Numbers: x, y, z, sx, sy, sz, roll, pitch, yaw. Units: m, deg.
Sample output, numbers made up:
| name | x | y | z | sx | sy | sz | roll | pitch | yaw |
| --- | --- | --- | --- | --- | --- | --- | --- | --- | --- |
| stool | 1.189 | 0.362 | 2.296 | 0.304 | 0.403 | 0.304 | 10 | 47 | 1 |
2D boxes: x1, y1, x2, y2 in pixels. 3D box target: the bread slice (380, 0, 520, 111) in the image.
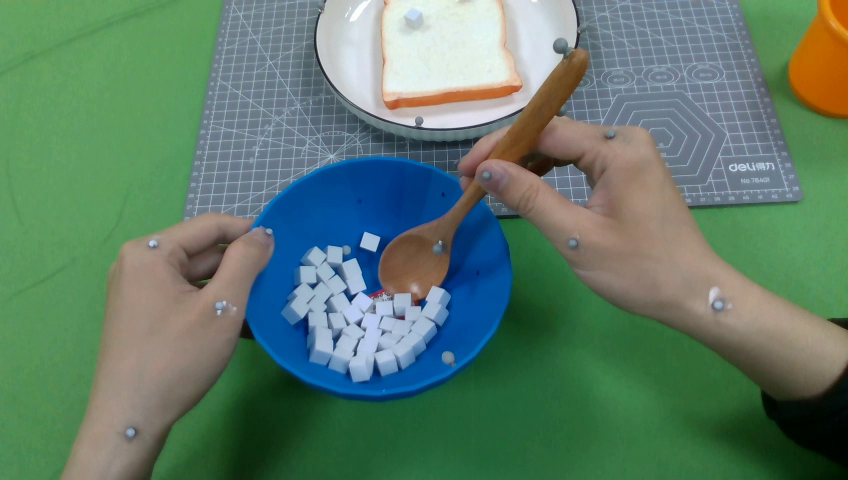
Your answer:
| name | x | y | z | sx | sy | sz | roll | pitch | yaw |
| --- | --- | --- | --- | --- | --- | --- | --- | --- | --- |
| bread slice | 0.013 | -0.164 | 0.496 | 0.107 | 0.018 | 0.133 | -9 | 65 | 1 |

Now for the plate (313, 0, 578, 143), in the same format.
| name | x | y | z | sx | sy | sz | roll | pitch | yaw |
| --- | --- | --- | --- | --- | --- | --- | --- | --- | --- |
| plate | 0.016 | -0.161 | 0.491 | 0.209 | 0.038 | 0.207 | -2 | 64 | 4 |

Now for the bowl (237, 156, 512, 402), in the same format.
| name | x | y | z | sx | sy | sz | roll | pitch | yaw |
| --- | --- | --- | --- | --- | --- | --- | --- | --- | --- |
| bowl | -0.027 | 0.032 | 0.364 | 0.151 | 0.077 | 0.150 | 1 | 59 | -2 |

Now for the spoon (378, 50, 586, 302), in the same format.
| name | x | y | z | sx | sy | sz | roll | pitch | yaw |
| --- | --- | --- | --- | --- | --- | --- | --- | --- | --- |
| spoon | 0.024 | -0.022 | 0.321 | 0.041 | 0.194 | 0.021 | 37 | 47 | -2 |
